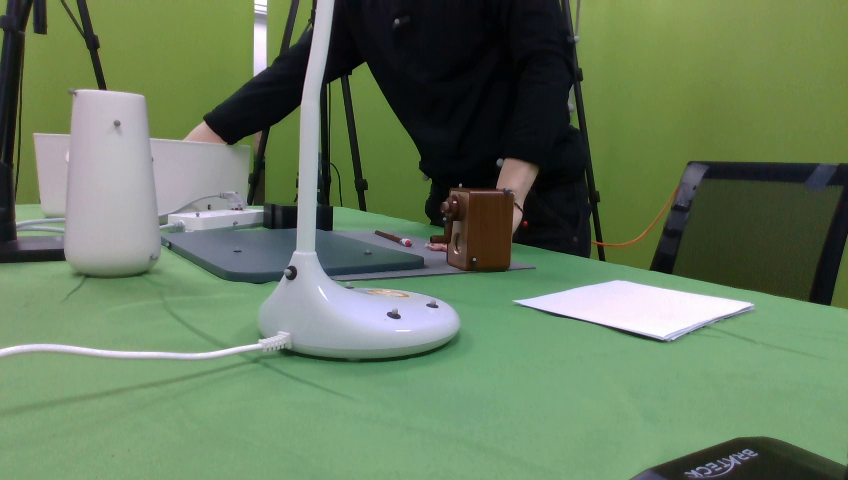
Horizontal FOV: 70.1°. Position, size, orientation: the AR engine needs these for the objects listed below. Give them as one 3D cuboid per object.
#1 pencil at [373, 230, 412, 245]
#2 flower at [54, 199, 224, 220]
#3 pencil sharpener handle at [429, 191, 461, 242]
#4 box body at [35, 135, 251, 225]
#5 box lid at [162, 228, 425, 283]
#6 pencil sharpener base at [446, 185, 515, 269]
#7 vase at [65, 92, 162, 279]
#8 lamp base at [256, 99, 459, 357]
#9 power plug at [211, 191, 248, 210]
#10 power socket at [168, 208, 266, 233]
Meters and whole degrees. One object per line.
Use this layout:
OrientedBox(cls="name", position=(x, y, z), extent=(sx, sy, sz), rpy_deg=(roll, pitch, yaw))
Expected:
OrientedBox(cls="pencil", position=(-0.059, -0.007, 1.062), extent=(0.012, 0.012, 0.193), rpy_deg=(-1, 6, -22))
OrientedBox(cls="flower", position=(-0.575, -0.061, 1.268), extent=(0.044, 0.038, 0.364), rpy_deg=(25, 15, 33))
OrientedBox(cls="pencil sharpener handle", position=(0.025, -0.029, 0.780), extent=(0.031, 0.067, 0.036), rpy_deg=(-2, 15, -25))
OrientedBox(cls="box body", position=(-0.559, -0.127, 1.257), extent=(0.253, 0.160, 0.365), rpy_deg=(4, 8, 15))
OrientedBox(cls="box lid", position=(-0.200, 0.014, 0.861), extent=(0.265, 0.015, 0.369), rpy_deg=(-3, 9, -35))
OrientedBox(cls="pencil sharpener base", position=(0.072, -0.019, 0.803), extent=(0.077, 0.107, 0.061), rpy_deg=(-2, 9, -25))
OrientedBox(cls="vase", position=(-0.347, -0.060, 0.673), extent=(0.098, 0.200, 0.098), rpy_deg=(1, 7, 0))
OrientedBox(cls="lamp base", position=(-0.055, -0.013, 0.463), extent=(0.160, 0.180, 0.180), rpy_deg=(6, 11, 27))
OrientedBox(cls="power plug", position=(-0.384, -0.071, 1.206), extent=(0.072, 0.052, 0.035), rpy_deg=(1, 9, 29))
OrientedBox(cls="power socket", position=(-0.379, -0.038, 1.129), extent=(0.072, 0.032, 0.227), rpy_deg=(4, 8, 18))
